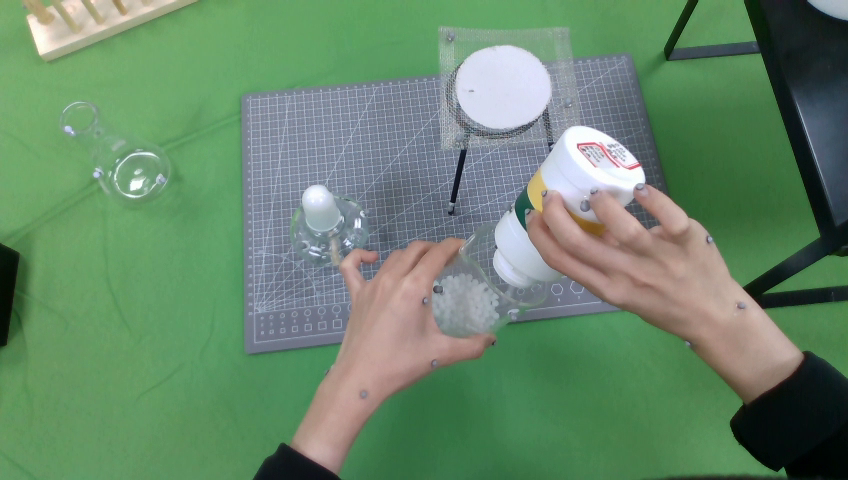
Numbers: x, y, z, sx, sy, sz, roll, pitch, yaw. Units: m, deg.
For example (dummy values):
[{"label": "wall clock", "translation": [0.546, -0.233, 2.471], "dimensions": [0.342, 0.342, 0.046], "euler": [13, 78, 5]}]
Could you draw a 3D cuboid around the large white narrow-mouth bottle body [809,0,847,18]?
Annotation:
[{"label": "large white narrow-mouth bottle body", "translation": [0.355, -0.258, 0.424], "dimensions": [0.102, 0.196, 0.101], "euler": [0, 68, 1]}]

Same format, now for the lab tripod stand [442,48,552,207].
[{"label": "lab tripod stand", "translation": [0.067, -0.113, 0.598], "dimensions": [0.148, 0.132, 0.147], "euler": [0, 69, 0]}]

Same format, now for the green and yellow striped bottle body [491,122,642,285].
[{"label": "green and yellow striped bottle body", "translation": [0.093, -0.019, 0.431], "dimensions": [0.063, 0.120, 0.062], "euler": [18, 42, -17]}]

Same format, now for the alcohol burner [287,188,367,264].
[{"label": "alcohol burner", "translation": [-0.095, -0.021, 0.579], "dimensions": [0.078, 0.120, 0.077], "euler": [0, 69, 0]}]

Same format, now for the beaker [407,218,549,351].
[{"label": "beaker", "translation": [0.036, 0.039, 0.486], "dimensions": [0.084, 0.100, 0.073], "euler": [17, 48, -29]}]

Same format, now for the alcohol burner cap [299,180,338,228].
[{"label": "alcohol burner cap", "translation": [-0.097, -0.035, 0.546], "dimensions": [0.034, 0.048, 0.033], "euler": [1, 63, -1]}]

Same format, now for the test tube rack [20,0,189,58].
[{"label": "test tube rack", "translation": [-0.359, -0.309, 0.704], "dimensions": [0.242, 0.086, 0.066], "euler": [-26, 72, -8]}]

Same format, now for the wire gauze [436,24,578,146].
[{"label": "wire gauze", "translation": [0.072, -0.141, 0.536], "dimensions": [0.121, 0.011, 0.124], "euler": [-1, 71, -1]}]

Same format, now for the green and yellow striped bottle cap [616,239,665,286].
[{"label": "green and yellow striped bottle cap", "translation": [0.218, 0.022, 0.609], "dimensions": [0.045, 0.020, 0.045], "euler": [-1, 70, 3]}]

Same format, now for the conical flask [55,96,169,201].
[{"label": "conical flask", "translation": [-0.316, -0.095, 0.609], "dimensions": [0.075, 0.122, 0.075], "euler": [0, 70, 2]}]
